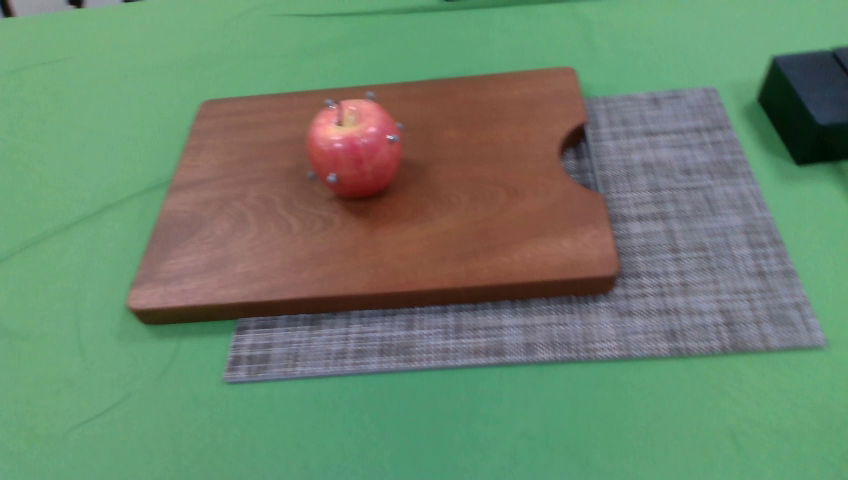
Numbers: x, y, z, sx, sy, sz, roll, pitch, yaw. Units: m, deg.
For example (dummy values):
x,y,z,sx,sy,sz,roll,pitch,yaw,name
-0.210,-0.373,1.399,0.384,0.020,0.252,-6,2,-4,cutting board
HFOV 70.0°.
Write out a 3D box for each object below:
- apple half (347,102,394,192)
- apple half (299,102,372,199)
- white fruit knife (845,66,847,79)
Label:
x,y,z,sx,sy,sz,roll,pitch,yaw,name
-0.042,-0.083,0.529,0.033,0.082,0.080,-15,51,2,apple half
-0.079,-0.074,0.528,0.053,0.075,0.080,-15,55,2,apple half
0.376,-0.060,0.483,0.016,0.027,0.205,-7,65,3,white fruit knife
